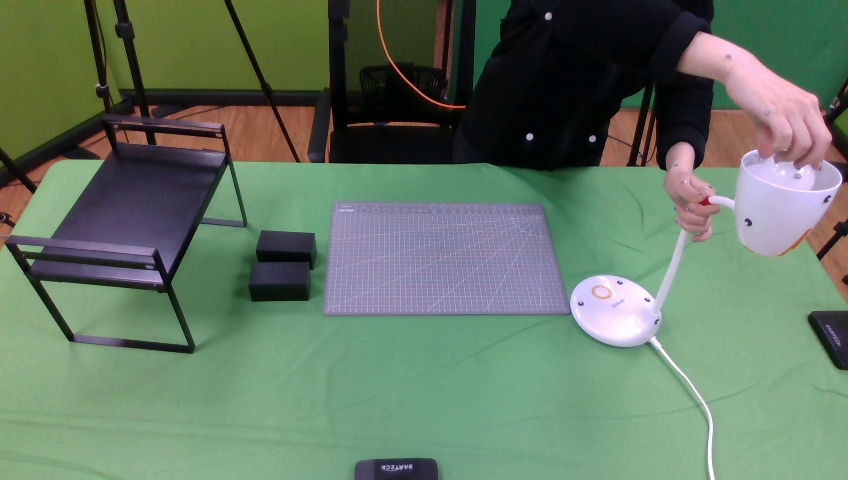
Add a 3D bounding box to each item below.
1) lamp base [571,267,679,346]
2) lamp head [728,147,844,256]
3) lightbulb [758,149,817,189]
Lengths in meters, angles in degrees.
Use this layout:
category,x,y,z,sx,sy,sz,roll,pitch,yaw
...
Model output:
category,x,y,z,sx,sy,sz,roll,pitch,yaw
lamp base,0.360,0.077,1.038,0.160,0.181,0.178,-34,59,-31
lamp head,0.438,-0.044,0.760,0.112,0.123,0.111,1,40,-1
lightbulb,0.434,-0.061,0.730,0.059,0.108,0.059,-12,46,13
